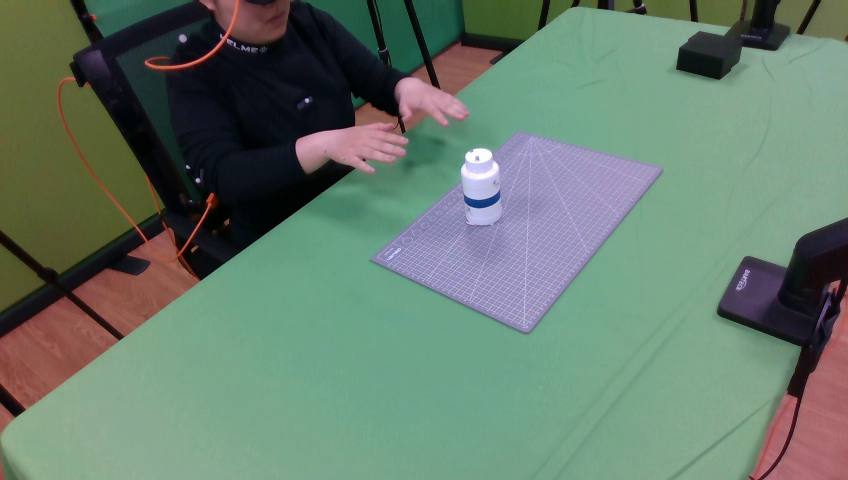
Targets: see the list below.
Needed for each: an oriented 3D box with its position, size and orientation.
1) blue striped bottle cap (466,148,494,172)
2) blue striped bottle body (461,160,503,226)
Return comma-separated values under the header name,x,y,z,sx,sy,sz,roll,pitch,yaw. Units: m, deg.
name,x,y,z,sx,sy,sz,roll,pitch,yaw
blue striped bottle cap,0.088,-0.127,0.955,0.044,0.021,0.044,-6,41,6
blue striped bottle body,0.095,-0.088,0.987,0.063,0.121,0.063,-6,40,5
